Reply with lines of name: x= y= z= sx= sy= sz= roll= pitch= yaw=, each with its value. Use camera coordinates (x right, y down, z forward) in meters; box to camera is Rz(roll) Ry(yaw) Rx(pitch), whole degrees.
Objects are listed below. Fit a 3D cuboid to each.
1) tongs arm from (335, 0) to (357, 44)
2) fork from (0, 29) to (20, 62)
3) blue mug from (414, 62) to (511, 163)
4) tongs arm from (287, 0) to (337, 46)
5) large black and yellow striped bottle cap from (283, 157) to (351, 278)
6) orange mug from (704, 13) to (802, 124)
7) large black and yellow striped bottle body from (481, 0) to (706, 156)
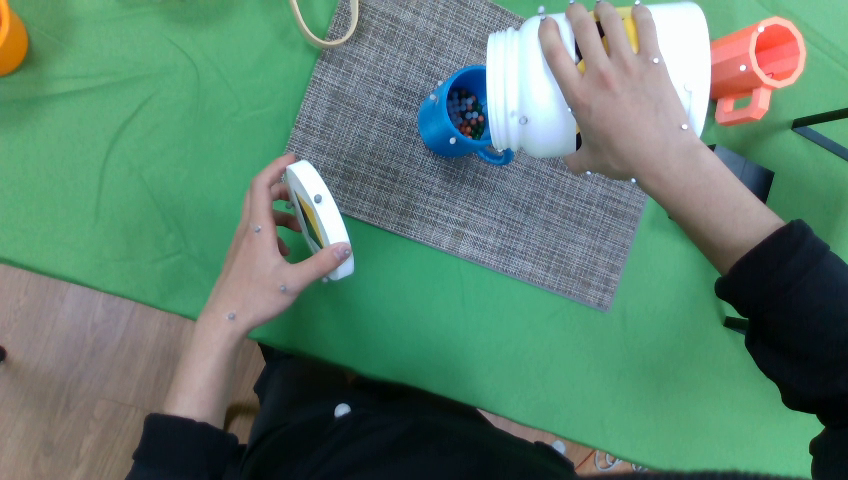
tongs arm: x=-0.093 y=-0.412 z=0.648 sx=0.028 sy=0.027 sz=0.388 roll=-6 pitch=100 yaw=-24
fork: x=-0.449 y=-0.223 z=0.513 sx=0.028 sy=0.018 sz=0.209 roll=-58 pitch=147 yaw=-8
blue mug: x=0.052 y=-0.131 z=0.677 sx=0.082 sy=0.105 sz=0.117 roll=-45 pitch=102 yaw=-10
tongs arm: x=-0.172 y=-0.392 z=0.623 sx=0.051 sy=0.026 sz=0.386 roll=-20 pitch=104 yaw=-17
large black and yellow striped bottle cap: x=-0.101 y=-0.020 z=0.560 sx=0.019 sy=0.114 sz=0.115 roll=-24 pitch=97 yaw=-21
orange mug: x=0.413 y=-0.217 z=0.783 sx=0.084 sy=0.100 sz=0.126 roll=10 pitch=85 yaw=-15
large black and yellow striped bottle body: x=0.151 y=-0.146 z=0.563 sx=0.183 sy=0.131 sz=0.131 roll=-1 pitch=92 yaw=13
